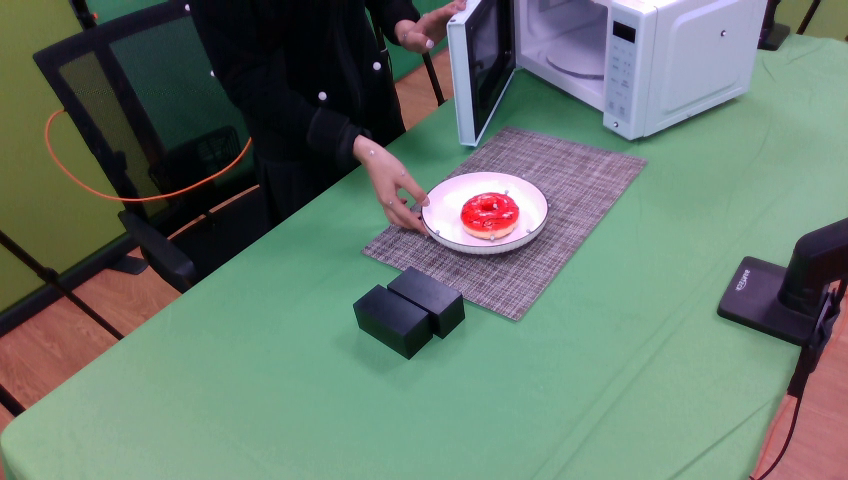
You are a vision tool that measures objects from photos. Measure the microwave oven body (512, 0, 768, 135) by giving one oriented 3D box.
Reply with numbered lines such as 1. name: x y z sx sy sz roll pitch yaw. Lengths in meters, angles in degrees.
1. microwave oven body: 0.411 -0.441 1.235 0.327 0.261 0.437 -25 42 -16

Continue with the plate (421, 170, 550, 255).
1. plate: 0.099 -0.043 0.992 0.209 0.038 0.208 -3 40 3

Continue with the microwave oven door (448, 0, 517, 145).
1. microwave oven door: 0.128 -0.390 1.221 0.039 0.245 0.355 7 43 19

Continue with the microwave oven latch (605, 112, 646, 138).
1. microwave oven latch: 0.375 -0.217 1.130 0.030 0.029 0.078 -25 42 -16

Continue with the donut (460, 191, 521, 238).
1. donut: 0.107 -0.043 0.973 0.099 0.048 0.098 -5 40 4
